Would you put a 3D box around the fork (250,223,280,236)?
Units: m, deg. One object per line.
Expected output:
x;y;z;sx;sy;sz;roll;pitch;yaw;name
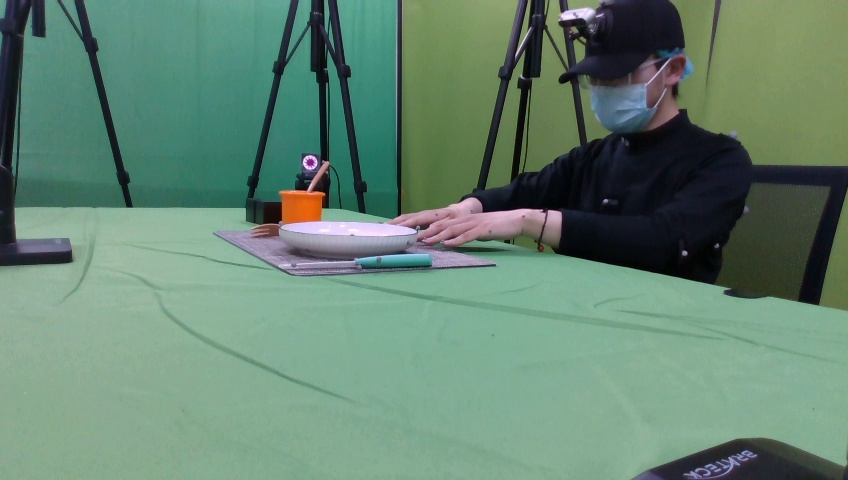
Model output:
-0.194;-0.014;1.051;0.208;0.028;0.018;3;38;-14;fork

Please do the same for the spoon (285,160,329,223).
-0.237;-0.101;1.253;0.041;0.193;0.022;3;-37;24;spoon

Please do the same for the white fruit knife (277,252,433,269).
-0.082;0.029;0.772;0.208;0.016;0.027;-3;-20;-22;white fruit knife

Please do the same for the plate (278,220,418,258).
-0.114;-0.002;0.914;0.209;0.038;0.209;2;7;0;plate
